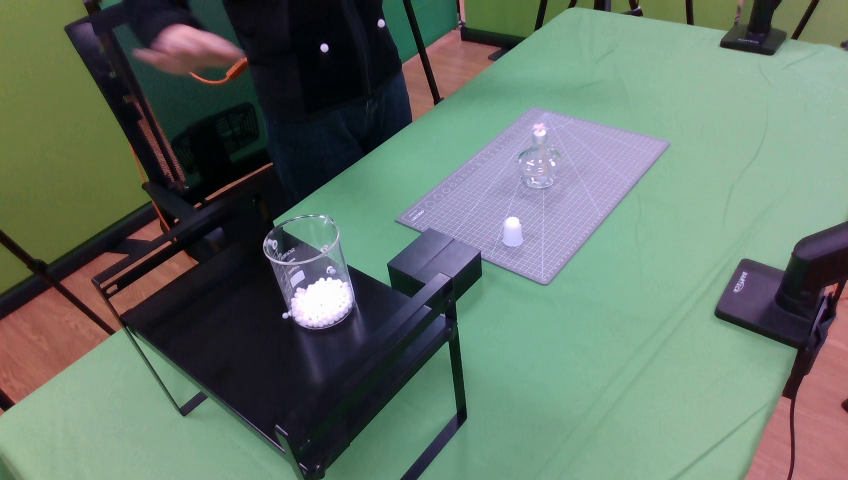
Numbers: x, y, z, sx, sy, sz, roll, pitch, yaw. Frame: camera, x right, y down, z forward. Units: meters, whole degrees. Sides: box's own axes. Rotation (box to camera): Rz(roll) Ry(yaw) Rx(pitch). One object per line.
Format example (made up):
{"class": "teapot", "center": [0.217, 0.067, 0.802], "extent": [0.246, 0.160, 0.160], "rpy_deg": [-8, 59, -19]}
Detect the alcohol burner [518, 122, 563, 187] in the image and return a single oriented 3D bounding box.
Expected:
{"class": "alcohol burner", "center": [0.201, -0.151, 1.046], "extent": [0.078, 0.119, 0.077], "rpy_deg": [-6, 42, 5]}

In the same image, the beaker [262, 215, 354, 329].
{"class": "beaker", "center": [-0.112, 0.034, 0.616], "extent": [0.073, 0.101, 0.084], "rpy_deg": [13, 44, 23]}

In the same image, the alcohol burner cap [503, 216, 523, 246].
{"class": "alcohol burner cap", "center": [0.140, -0.017, 0.954], "extent": [0.034, 0.048, 0.033], "rpy_deg": [-4, 42, 4]}
